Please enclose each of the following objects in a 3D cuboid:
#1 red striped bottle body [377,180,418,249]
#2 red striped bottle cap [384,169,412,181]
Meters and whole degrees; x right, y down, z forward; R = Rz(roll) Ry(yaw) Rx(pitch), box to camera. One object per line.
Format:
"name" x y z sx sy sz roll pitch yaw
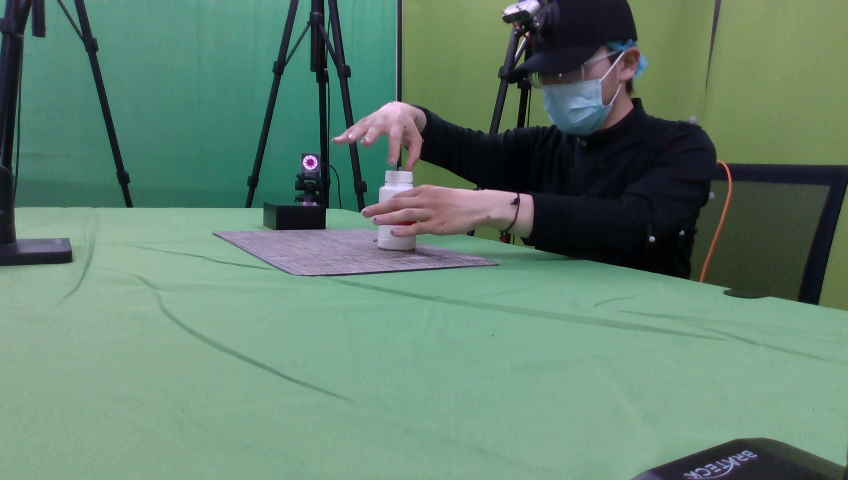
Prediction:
"red striped bottle body" -0.042 -0.048 0.966 0.063 0.119 0.063 2 6 0
"red striped bottle cap" -0.041 -0.103 0.958 0.044 0.017 0.044 4 6 0
